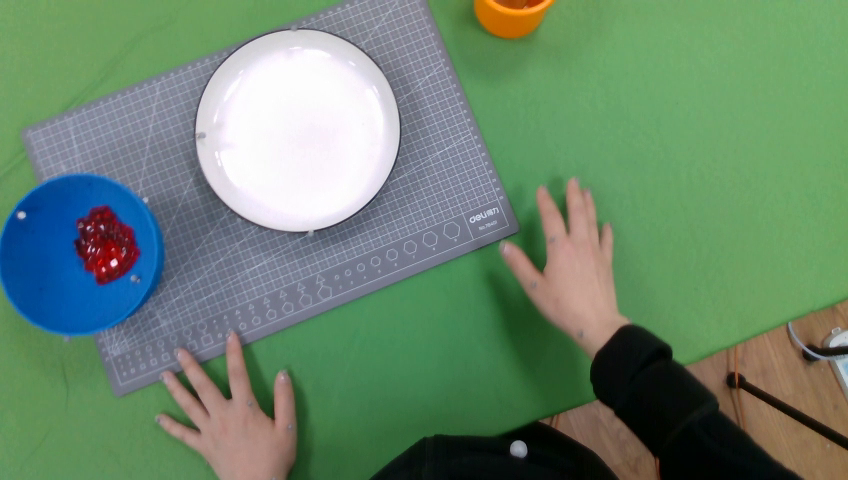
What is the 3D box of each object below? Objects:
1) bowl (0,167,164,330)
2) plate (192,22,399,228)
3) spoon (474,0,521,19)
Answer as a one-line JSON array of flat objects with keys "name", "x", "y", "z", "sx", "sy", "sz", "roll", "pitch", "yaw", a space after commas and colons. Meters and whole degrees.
[{"name": "bowl", "x": -0.319, "y": 0.010, "z": 0.592, "sx": 0.151, "sy": 0.077, "sz": 0.151, "roll": 0, "pitch": 86, "yaw": 0}, {"name": "plate", "x": -0.128, "y": -0.115, "z": 0.621, "sx": 0.209, "sy": 0.038, "sz": 0.208, "roll": 0, "pitch": 86, "yaw": 0}, {"name": "spoon", "x": 0.126, "y": -0.261, "z": 0.578, "sx": 0.022, "sy": 0.193, "sz": 0.041, "roll": -8, "pitch": 87, "yaw": -44}]
